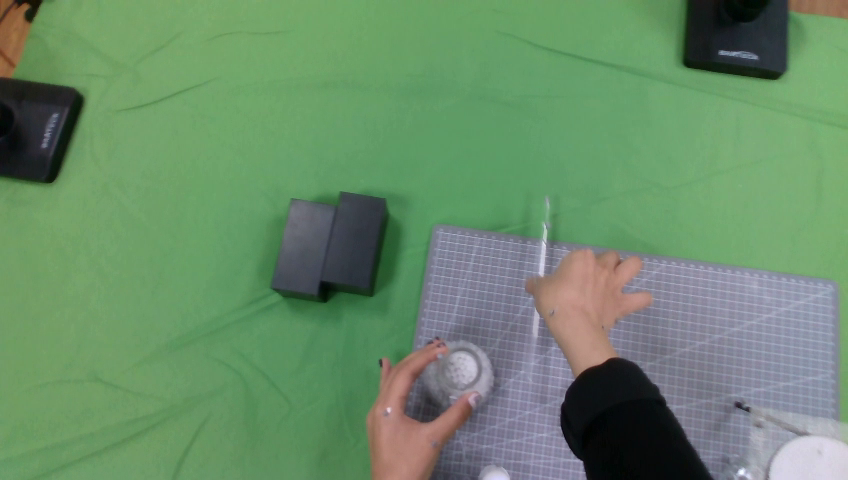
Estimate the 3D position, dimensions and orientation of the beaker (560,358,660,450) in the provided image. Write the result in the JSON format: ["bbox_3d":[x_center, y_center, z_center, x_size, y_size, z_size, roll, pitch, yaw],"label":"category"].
[{"bbox_3d":[0.176,0.158,0.589,0.074,0.101,0.083,19,76,6],"label":"beaker"}]

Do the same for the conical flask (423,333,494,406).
[{"bbox_3d":[0.035,0.122,0.588,0.075,0.122,0.075,0,75,2],"label":"conical flask"}]

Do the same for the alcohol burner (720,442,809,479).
[{"bbox_3d":[0.325,0.228,0.560,0.078,0.120,0.077,-1,75,4],"label":"alcohol burner"}]

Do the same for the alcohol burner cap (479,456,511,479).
[{"bbox_3d":[0.072,0.234,0.601,0.034,0.048,0.033,0,76,2],"label":"alcohol burner cap"}]

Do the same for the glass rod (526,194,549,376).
[{"bbox_3d":[0.121,0.044,0.639,0.008,0.008,0.198,8,73,3],"label":"glass rod"}]

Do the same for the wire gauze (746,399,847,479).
[{"bbox_3d":[0.323,0.200,0.487,0.125,0.011,0.121,11,77,5],"label":"wire gauze"}]

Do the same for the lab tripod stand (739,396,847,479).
[{"bbox_3d":[0.324,0.219,0.552,0.148,0.132,0.147,0,77,2],"label":"lab tripod stand"}]
